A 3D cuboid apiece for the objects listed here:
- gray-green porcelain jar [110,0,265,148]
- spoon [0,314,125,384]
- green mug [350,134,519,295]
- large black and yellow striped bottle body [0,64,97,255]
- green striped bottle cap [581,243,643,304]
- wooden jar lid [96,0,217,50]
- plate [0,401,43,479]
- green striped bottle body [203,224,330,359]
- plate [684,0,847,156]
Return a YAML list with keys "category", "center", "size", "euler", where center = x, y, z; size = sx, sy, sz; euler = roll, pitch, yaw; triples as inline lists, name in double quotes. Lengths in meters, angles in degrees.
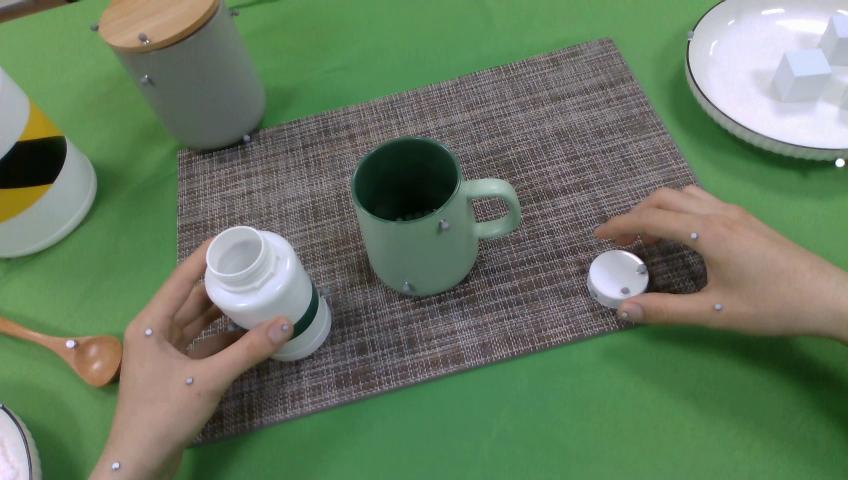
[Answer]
- category: "gray-green porcelain jar"
  center: [-0.216, -0.160, 0.571]
  size: [0.106, 0.128, 0.105]
  euler: [-4, 54, 6]
- category: "spoon"
  center: [-0.324, 0.078, 0.506]
  size: [0.193, 0.022, 0.041]
  euler: [14, 80, 16]
- category: "green mug"
  center: [0.010, -0.019, 0.463]
  size: [0.125, 0.106, 0.091]
  euler: [-7, 58, 4]
- category: "large black and yellow striped bottle body"
  center: [-0.393, -0.084, 0.519]
  size: [0.130, 0.186, 0.129]
  euler: [-4, 59, 6]
- category: "green striped bottle cap"
  center: [0.144, 0.025, 0.464]
  size: [0.044, 0.020, 0.044]
  euler: [3, 68, -7]
- category: "wooden jar lid"
  center: [-0.225, -0.196, 0.520]
  size: [0.108, 0.021, 0.107]
  euler: [-6, 57, 9]
- category: "plate"
  center: [-0.365, 0.208, 0.424]
  size: [0.209, 0.038, 0.207]
  euler: [-4, 58, 6]
- category: "green striped bottle body"
  center: [-0.114, 0.037, 0.438]
  size: [0.063, 0.120, 0.062]
  euler: [-4, 58, 7]
- category: "plate"
  center: [0.339, -0.152, 0.538]
  size: [0.207, 0.039, 0.205]
  euler: [-4, 58, 7]
